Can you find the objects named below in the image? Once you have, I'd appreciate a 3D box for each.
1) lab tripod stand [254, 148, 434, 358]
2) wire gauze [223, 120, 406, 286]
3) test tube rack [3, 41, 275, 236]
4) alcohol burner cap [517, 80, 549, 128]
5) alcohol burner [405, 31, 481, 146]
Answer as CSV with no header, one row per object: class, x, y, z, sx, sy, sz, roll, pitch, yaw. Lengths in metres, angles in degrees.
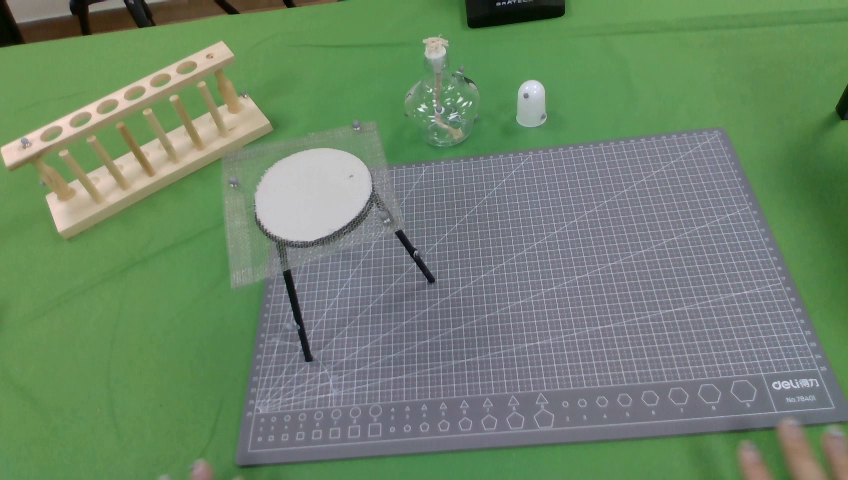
lab tripod stand,-0.071,0.007,0.486,0.148,0.133,0.147,-4,55,5
wire gauze,-0.082,-0.034,0.434,0.121,0.011,0.123,-15,54,-2
test tube rack,-0.292,-0.109,0.640,0.242,0.086,0.066,-32,56,-14
alcohol burner cap,0.114,-0.144,0.630,0.034,0.048,0.033,-5,54,7
alcohol burner,0.017,-0.154,0.607,0.078,0.120,0.077,-4,51,6
